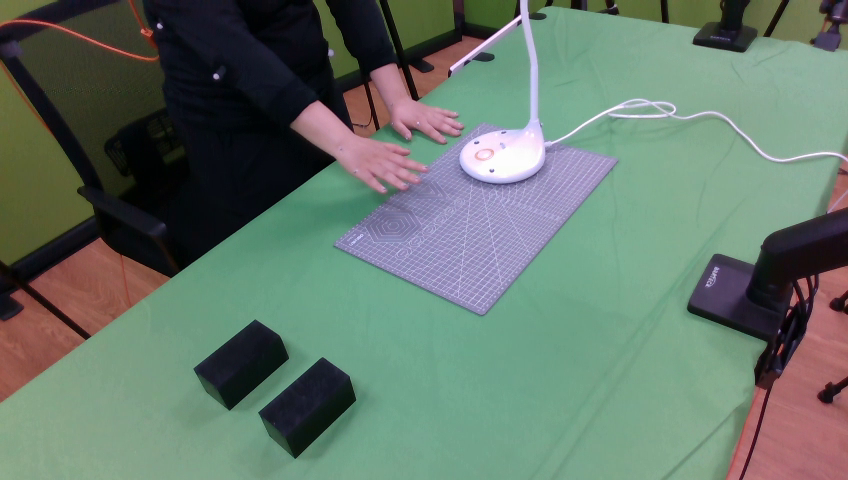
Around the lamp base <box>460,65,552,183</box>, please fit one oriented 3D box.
[{"bbox_3d":[0.149,-0.218,1.078,0.180,0.181,0.159,-19,41,-17],"label":"lamp base"}]
